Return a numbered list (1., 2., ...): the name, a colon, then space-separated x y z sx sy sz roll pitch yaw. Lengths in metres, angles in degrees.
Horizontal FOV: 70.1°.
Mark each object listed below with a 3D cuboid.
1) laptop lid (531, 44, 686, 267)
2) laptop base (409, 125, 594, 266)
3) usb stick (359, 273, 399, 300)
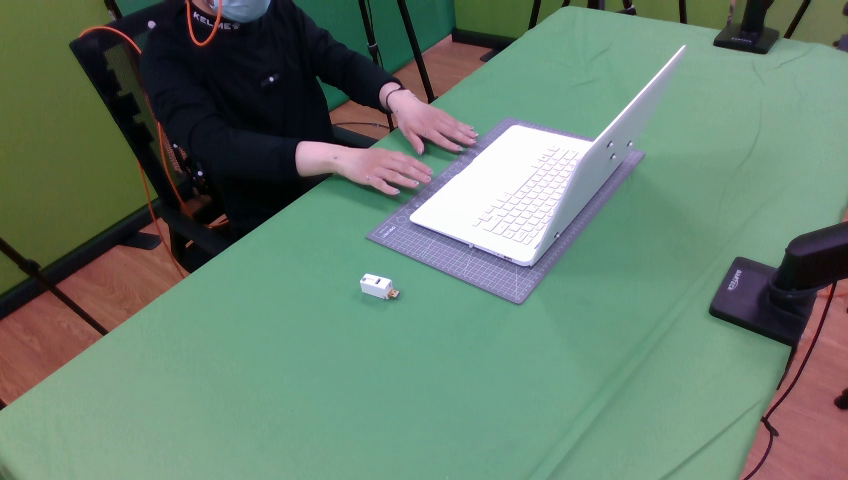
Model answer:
1. laptop lid: 0.279 -0.128 0.906 0.013 0.242 0.357 34 52 17
2. laptop base: 0.168 -0.093 1.055 0.233 0.023 0.355 20 47 33
3. usb stick: -0.065 0.071 0.892 0.059 0.027 0.021 16 44 21
